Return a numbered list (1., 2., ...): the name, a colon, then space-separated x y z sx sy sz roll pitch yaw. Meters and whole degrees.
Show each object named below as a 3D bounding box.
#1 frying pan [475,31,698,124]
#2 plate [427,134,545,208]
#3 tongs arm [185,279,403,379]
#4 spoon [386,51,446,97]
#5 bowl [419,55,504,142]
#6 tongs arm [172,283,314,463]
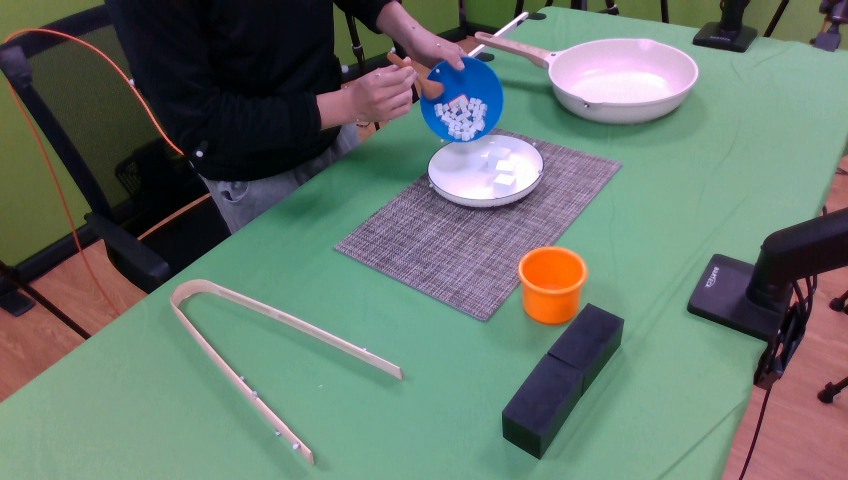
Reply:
1. frying pan: 0.320 -0.371 1.290 0.485 0.103 0.307 28 50 23
2. plate: 0.110 -0.119 1.073 0.207 0.039 0.206 -4 41 4
3. tongs arm: -0.194 0.120 0.853 0.385 0.028 0.028 17 49 26
4. spoon: -0.014 -0.277 1.012 0.041 0.195 0.021 -33 68 21
5. bowl: 0.067 -0.253 1.102 0.151 0.151 0.077 -6 8 1
6. tongs arm: -0.246 0.161 0.806 0.381 0.026 0.051 29 51 36
